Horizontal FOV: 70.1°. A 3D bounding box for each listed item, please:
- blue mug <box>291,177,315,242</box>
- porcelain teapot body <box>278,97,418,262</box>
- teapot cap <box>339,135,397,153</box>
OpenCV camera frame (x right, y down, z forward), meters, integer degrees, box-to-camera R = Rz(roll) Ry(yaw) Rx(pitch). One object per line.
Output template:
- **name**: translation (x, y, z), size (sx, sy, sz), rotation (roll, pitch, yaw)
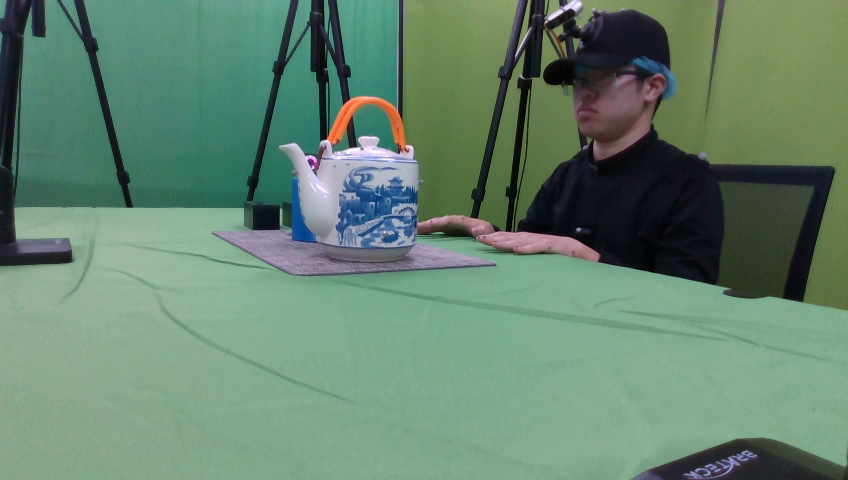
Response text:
- **blue mug**: translation (-0.170, -0.054, 1.037), size (0.117, 0.106, 0.082), rotation (-2, 9, -31)
- **porcelain teapot body**: translation (-0.104, -0.086, 0.842), size (0.206, 0.225, 0.144), rotation (-4, 10, -38)
- **teapot cap**: translation (-0.080, -0.126, 0.853), size (0.085, 0.044, 0.085), rotation (-1, 5, 0)
